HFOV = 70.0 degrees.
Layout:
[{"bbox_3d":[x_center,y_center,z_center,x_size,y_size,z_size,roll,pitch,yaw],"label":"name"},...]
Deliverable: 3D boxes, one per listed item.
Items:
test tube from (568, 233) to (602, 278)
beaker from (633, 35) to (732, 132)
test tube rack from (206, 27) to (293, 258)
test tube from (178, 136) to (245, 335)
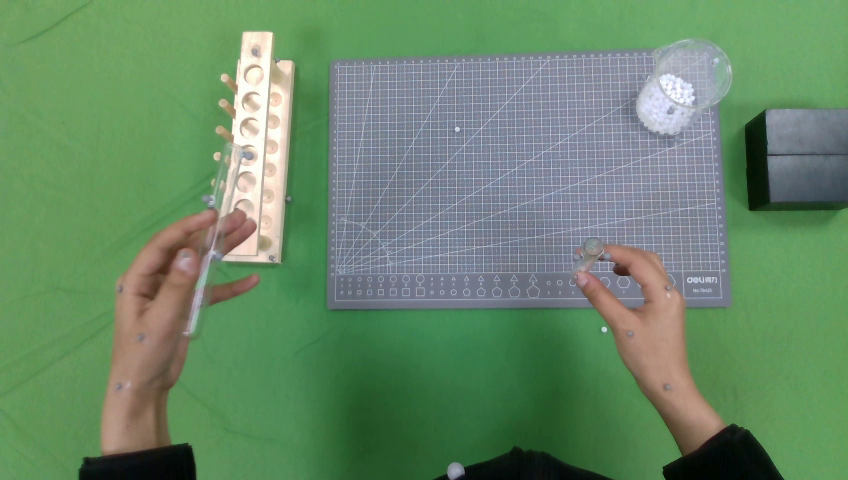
[{"bbox_3d":[0.140,0.017,0.534,0.017,0.151,0.017,-2,78,9],"label":"test tube"},{"bbox_3d":[0.268,-0.164,0.649,0.083,0.100,0.074,37,86,9],"label":"beaker"},{"bbox_3d":[-0.199,-0.105,0.679,0.067,0.085,0.241,2,83,4],"label":"test tube rack"},{"bbox_3d":[-0.157,-0.003,0.447,0.017,0.017,0.150,13,89,5],"label":"test tube"}]
